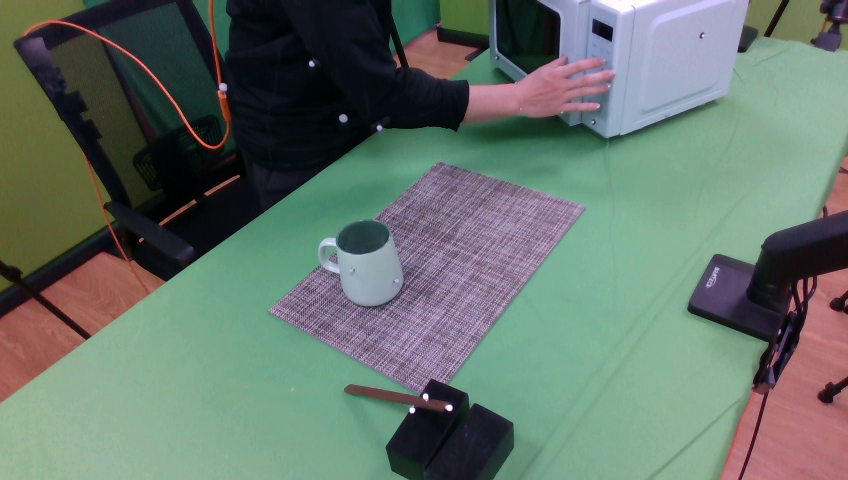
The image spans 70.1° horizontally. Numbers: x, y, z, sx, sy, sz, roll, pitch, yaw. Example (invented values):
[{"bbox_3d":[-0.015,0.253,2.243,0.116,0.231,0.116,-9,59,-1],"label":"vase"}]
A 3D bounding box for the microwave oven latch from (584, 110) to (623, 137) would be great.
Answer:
[{"bbox_3d":[0.337,-0.222,1.142,0.030,0.029,0.078,-21,42,-14],"label":"microwave oven latch"}]

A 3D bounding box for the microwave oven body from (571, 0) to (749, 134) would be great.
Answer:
[{"bbox_3d":[0.382,-0.445,1.246,0.327,0.261,0.437,-22,42,-16],"label":"microwave oven body"}]

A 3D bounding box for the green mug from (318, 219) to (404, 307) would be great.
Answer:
[{"bbox_3d":[-0.096,0.032,0.876,0.125,0.105,0.092,8,43,17],"label":"green mug"}]

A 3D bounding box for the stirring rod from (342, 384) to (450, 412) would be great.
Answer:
[{"bbox_3d":[-0.038,0.186,0.714,0.175,0.006,0.014,-3,22,43],"label":"stirring rod"}]

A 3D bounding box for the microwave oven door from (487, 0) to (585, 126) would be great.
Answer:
[{"bbox_3d":[0.221,-0.416,1.228,0.039,0.245,0.352,-19,42,-13],"label":"microwave oven door"}]
